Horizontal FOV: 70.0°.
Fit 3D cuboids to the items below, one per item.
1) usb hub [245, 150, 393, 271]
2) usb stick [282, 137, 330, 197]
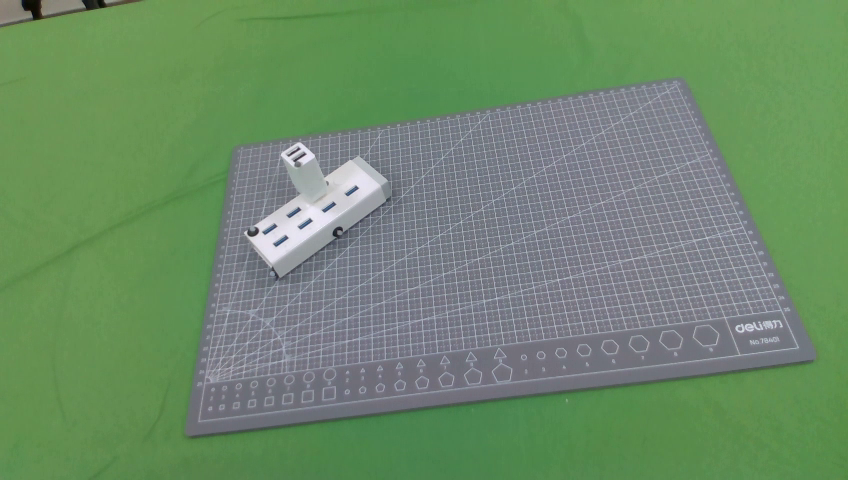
[{"bbox_3d":[-0.091,-0.028,0.534,0.125,0.025,0.049,-37,57,-17],"label":"usb hub"},{"bbox_3d":[-0.098,-0.057,0.520,0.021,0.060,0.027,-39,56,-17],"label":"usb stick"}]
